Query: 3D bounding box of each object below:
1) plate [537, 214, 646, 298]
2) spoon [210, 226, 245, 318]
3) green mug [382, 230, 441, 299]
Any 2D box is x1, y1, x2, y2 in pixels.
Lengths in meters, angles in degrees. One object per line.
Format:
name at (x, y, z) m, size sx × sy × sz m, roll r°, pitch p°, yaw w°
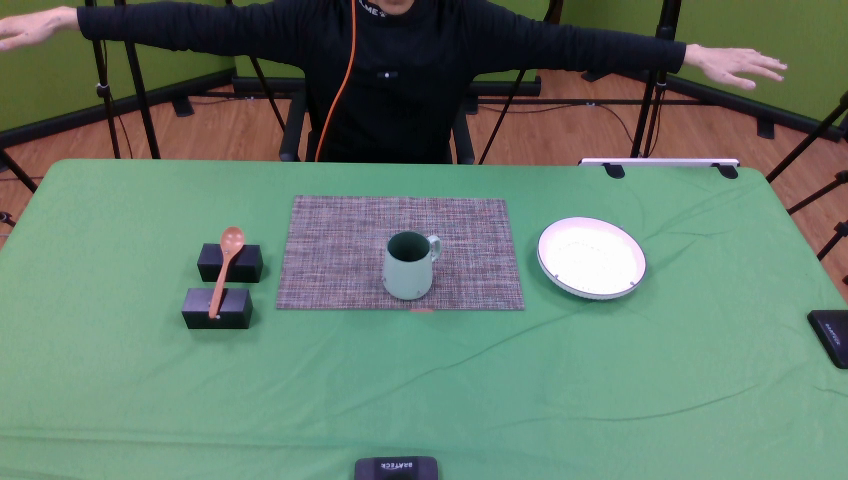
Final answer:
plate at (0.321, 0.035, 1.176) m, size 0.209 × 0.038 × 0.208 m, roll 2°, pitch 47°, yaw -2°
spoon at (-0.347, 0.051, 1.051) m, size 0.042 × 0.022 × 0.192 m, roll 16°, pitch 44°, yaw -18°
green mug at (-0.017, 0.037, 1.097) m, size 0.125 × 0.105 × 0.092 m, roll -34°, pitch 57°, yaw -31°
